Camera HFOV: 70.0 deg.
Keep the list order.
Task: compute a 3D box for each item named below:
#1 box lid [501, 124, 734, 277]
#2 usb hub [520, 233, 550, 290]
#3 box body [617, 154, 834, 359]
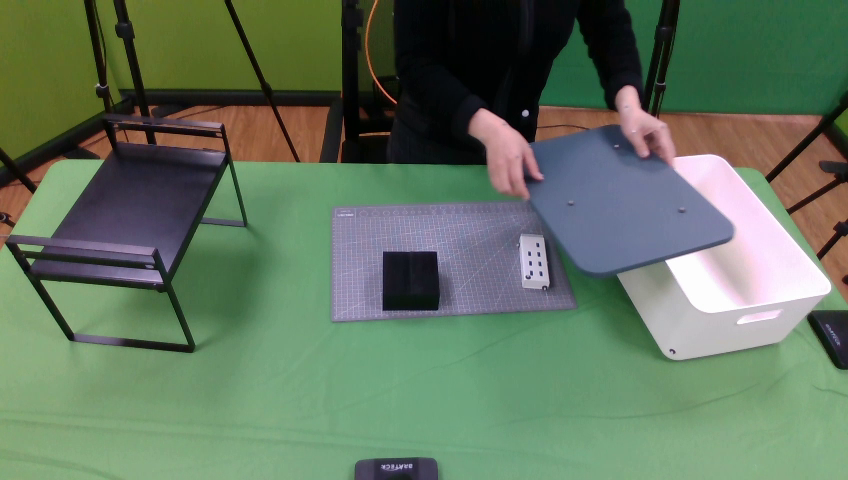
[{"bbox_3d":[0.310,-0.086,1.035,0.263,0.015,0.369,-14,41,-8],"label":"box lid"},{"bbox_3d":[0.212,0.040,1.168,0.049,0.025,0.124,4,45,1],"label":"usb hub"},{"bbox_3d":[0.497,0.023,1.112,0.254,0.161,0.361,-8,47,-10],"label":"box body"}]
